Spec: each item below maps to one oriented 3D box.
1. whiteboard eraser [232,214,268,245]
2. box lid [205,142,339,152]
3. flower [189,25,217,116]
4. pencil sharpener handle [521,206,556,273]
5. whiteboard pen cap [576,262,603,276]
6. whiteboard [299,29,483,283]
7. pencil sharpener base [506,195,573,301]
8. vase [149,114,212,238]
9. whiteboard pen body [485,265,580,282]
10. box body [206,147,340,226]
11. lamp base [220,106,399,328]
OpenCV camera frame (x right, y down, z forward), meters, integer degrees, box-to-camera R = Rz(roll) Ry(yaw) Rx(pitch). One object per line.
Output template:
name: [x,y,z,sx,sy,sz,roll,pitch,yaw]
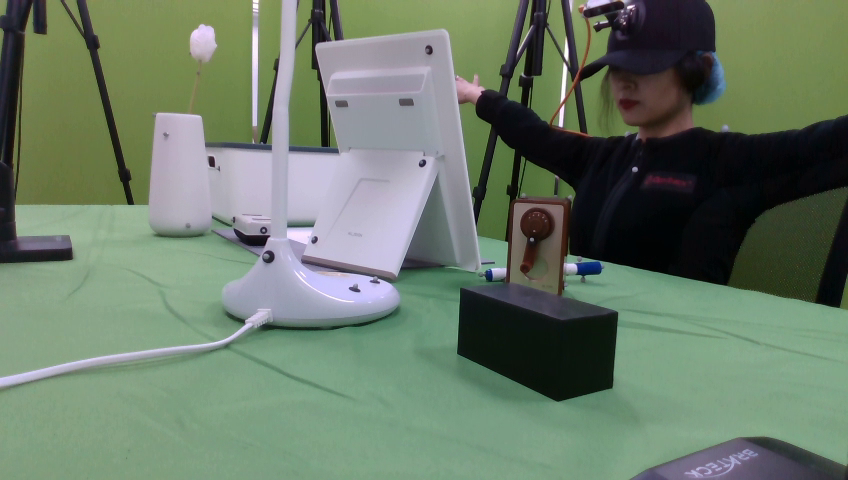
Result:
whiteboard eraser: [-0.265,-0.018,0.954,0.056,0.042,0.112,-4,10,-28]
box lid: [-0.270,-0.196,1.311,0.373,0.015,0.262,-2,9,-30]
flower: [-0.394,-0.189,1.012,0.044,0.361,0.038,-1,-13,27]
pencil sharpener handle: [0.111,0.000,0.613,0.036,0.067,0.031,12,10,14]
whiteboard pen cap: [0.203,0.036,0.749,0.033,0.018,0.018,-2,8,-7]
whiteboard: [-0.074,-0.082,0.741,0.216,0.305,0.144,9,29,38]
pencil sharpener base: [0.127,0.007,0.663,0.061,0.107,0.077,5,8,15]
vase: [-0.405,-0.106,1.005,0.098,0.200,0.098,2,6,0]
whiteboard pen body: [0.144,0.039,0.738,0.141,0.017,0.017,-2,8,-10]
box body: [-0.276,-0.122,1.320,0.366,0.160,0.253,-2,9,-30]
lamp base: [-0.102,-0.023,0.531,0.160,0.180,0.179,4,10,10]
